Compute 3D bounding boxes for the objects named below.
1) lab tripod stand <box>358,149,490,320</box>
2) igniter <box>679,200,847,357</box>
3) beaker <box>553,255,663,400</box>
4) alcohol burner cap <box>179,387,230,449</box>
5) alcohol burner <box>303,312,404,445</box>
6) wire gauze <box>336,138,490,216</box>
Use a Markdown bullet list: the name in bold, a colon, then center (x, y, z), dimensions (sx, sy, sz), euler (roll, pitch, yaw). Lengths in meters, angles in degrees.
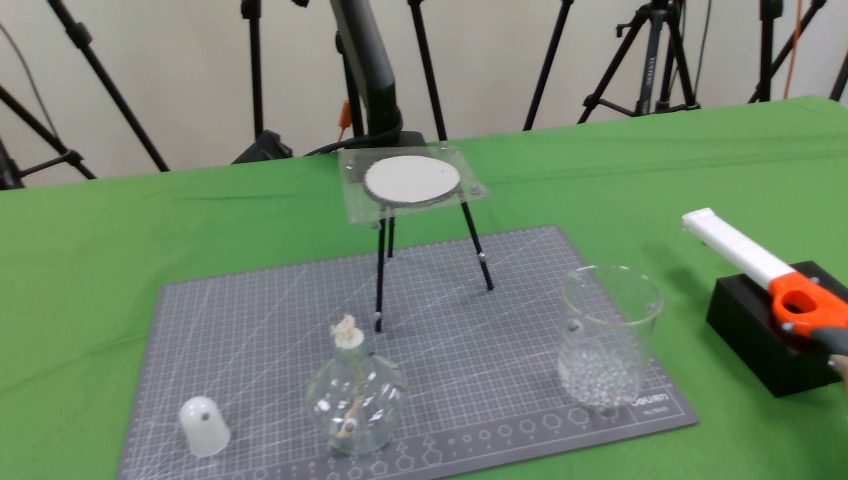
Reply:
- **lab tripod stand**: center (-0.007, -0.012, 0.587), dimensions (0.148, 0.132, 0.147), euler (-1, 34, 1)
- **igniter**: center (0.307, 0.035, 0.514), dimensions (0.057, 0.025, 0.273), euler (-17, 32, -5)
- **beaker**: center (0.142, 0.072, 0.490), dimensions (0.074, 0.101, 0.083), euler (-19, 38, -22)
- **alcohol burner cap**: center (-0.172, 0.135, 0.471), dimensions (0.034, 0.048, 0.033), euler (-1, 36, 1)
- **alcohol burner**: center (-0.054, 0.097, 0.454), dimensions (0.078, 0.120, 0.077), euler (-1, 37, 1)
- **wire gauze**: center (-0.015, -0.064, 0.545), dimensions (0.122, 0.011, 0.123), euler (-7, 36, -9)
